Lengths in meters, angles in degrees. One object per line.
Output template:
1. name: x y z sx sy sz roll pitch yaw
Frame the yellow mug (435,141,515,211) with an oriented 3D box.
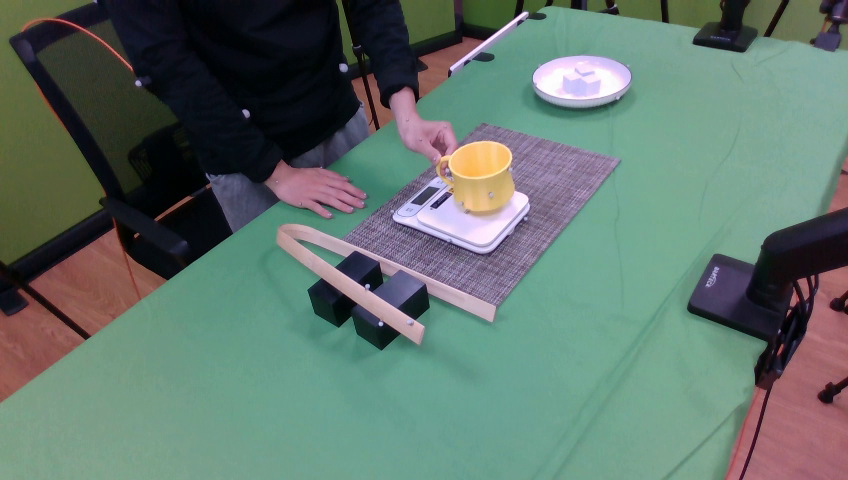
1. yellow mug: 0.077 -0.104 0.956 0.130 0.064 0.100 11 46 25

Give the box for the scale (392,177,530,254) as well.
1. scale: 0.060 -0.050 1.006 0.199 0.032 0.149 22 48 30

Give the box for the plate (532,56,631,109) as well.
1. plate: 0.335 -0.336 1.301 0.207 0.039 0.206 -4 41 4

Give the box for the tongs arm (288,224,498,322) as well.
1. tongs arm: -0.060 0.043 0.918 0.384 0.028 0.028 21 24 28

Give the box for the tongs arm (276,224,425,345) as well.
1. tongs arm: -0.114 0.050 0.856 0.051 0.026 0.381 -7 24 -44
